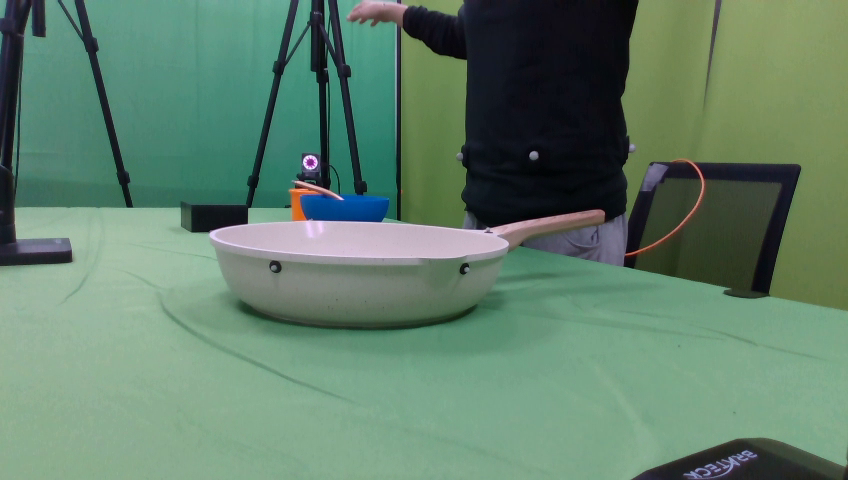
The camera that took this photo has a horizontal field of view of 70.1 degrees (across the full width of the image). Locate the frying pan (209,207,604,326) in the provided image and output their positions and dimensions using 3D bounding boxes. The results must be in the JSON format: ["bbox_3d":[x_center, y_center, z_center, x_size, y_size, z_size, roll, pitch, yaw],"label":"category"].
[{"bbox_3d":[0.026,0.005,0.665,0.490,0.102,0.305,-12,14,-30],"label":"frying pan"}]

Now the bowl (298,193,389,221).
[{"bbox_3d":[-0.136,-0.037,1.018,0.151,0.077,0.151,2,7,0],"label":"bowl"}]

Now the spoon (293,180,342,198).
[{"bbox_3d":[-0.157,-0.075,1.056,0.193,0.021,0.042,27,24,27],"label":"spoon"}]
